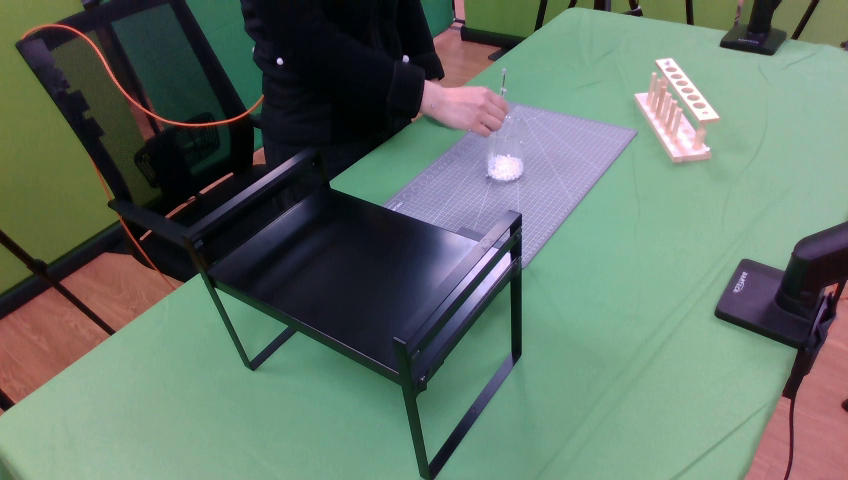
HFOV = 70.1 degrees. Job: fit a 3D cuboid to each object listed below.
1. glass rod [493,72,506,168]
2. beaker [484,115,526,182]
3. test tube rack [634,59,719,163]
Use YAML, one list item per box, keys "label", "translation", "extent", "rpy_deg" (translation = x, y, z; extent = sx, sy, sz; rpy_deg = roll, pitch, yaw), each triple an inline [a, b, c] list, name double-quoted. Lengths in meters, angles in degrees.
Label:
- label: "glass rod"
  translation: [0.130, -0.200, 1.038]
  extent: [0.008, 0.200, 0.008]
  rpy_deg: [0, 48, 1]
- label: "beaker"
  translation: [0.147, -0.162, 1.080]
  extent: [0.073, 0.101, 0.084]
  rpy_deg: [13, 44, 22]
- label: "test tube rack"
  translation: [0.470, -0.250, 1.148]
  extent: [0.067, 0.085, 0.241]
  rpy_deg: [-6, 40, 3]
